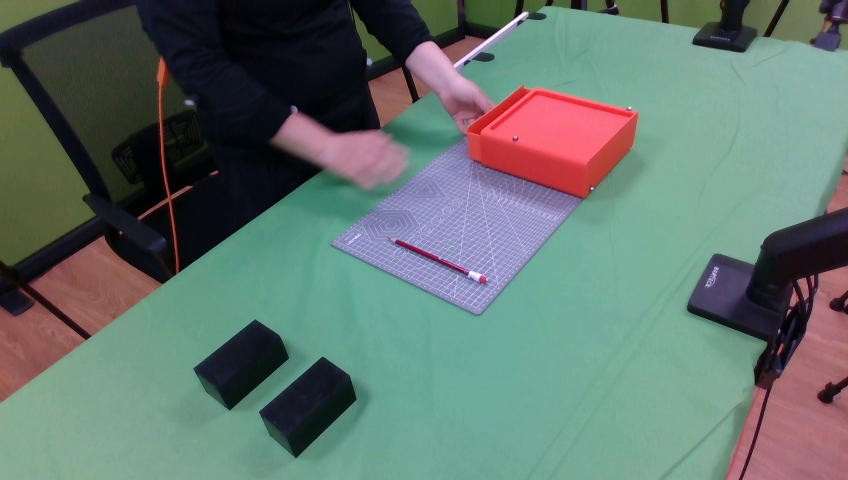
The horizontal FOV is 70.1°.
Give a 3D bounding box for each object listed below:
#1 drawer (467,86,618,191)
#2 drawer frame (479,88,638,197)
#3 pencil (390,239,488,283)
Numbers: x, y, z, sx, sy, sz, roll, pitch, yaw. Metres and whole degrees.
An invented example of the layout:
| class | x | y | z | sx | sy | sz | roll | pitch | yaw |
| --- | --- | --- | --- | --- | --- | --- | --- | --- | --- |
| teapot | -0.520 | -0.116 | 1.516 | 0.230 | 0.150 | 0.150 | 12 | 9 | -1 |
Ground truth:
| class | x | y | z | sx | sy | sz | roll | pitch | yaw |
| --- | --- | --- | --- | --- | --- | --- | --- | --- | --- |
| drawer | 0.219 | -0.193 | 1.118 | 0.210 | 0.073 | 0.195 | 25 | 49 | 31 |
| drawer frame | 0.243 | -0.184 | 1.101 | 0.212 | 0.083 | 0.202 | 24 | 48 | 30 |
| pencil | 0.019 | 0.029 | 0.938 | 0.192 | 0.012 | 0.012 | 22 | 48 | 34 |
